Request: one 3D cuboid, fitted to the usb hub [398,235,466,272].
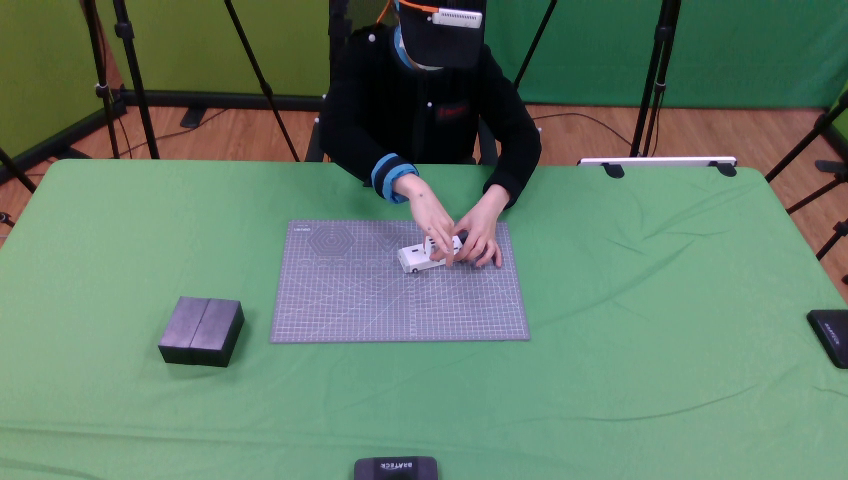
[{"bbox_3d":[0.016,0.027,1.166,0.125,0.025,0.049,-13,49,-16],"label":"usb hub"}]

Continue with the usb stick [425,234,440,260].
[{"bbox_3d":[0.016,0.018,1.134,0.021,0.059,0.027,-17,54,-15],"label":"usb stick"}]
